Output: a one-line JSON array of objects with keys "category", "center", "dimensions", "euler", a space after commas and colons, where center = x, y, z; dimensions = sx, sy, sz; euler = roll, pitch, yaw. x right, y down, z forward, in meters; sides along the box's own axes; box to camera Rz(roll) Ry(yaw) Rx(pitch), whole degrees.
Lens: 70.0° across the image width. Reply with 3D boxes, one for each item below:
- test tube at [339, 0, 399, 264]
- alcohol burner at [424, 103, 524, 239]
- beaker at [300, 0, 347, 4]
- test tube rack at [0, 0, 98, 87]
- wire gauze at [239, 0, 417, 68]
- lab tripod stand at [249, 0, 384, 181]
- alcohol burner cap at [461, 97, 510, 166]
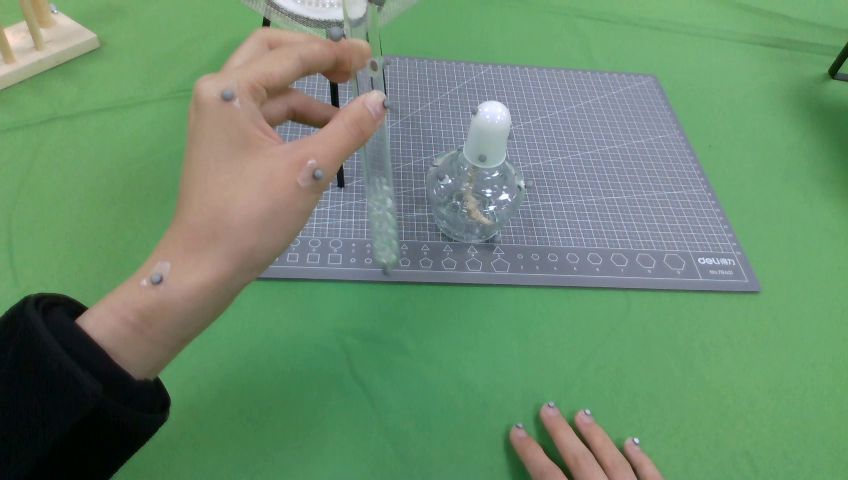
[{"category": "test tube", "center": [-0.026, -0.051, 0.306], "dimensions": [0.017, 0.151, 0.017], "euler": [-3, 34, 2]}, {"category": "alcohol burner", "center": [0.041, -0.057, 0.458], "dimensions": [0.078, 0.120, 0.077], "euler": [6, 49, -6]}, {"category": "beaker", "center": [-0.074, -0.223, 0.415], "dimensions": [0.073, 0.101, 0.084], "euler": [40, 57, 22]}, {"category": "test tube rack", "center": [-0.410, -0.166, 0.500], "dimensions": [0.066, 0.086, 0.242], "euler": [33, 53, 18]}, {"category": "wire gauze", "center": [-0.076, -0.186, 0.450], "dimensions": [0.124, 0.011, 0.121], "euler": [35, 56, 15]}, {"category": "lab tripod stand", "center": [-0.081, -0.144, 0.499], "dimensions": [0.149, 0.132, 0.147], "euler": [6, 50, -6]}, {"category": "alcohol burner cap", "center": [0.045, -0.079, 0.429], "dimensions": [0.034, 0.048, 0.033], "euler": [2, 54, -3]}]
